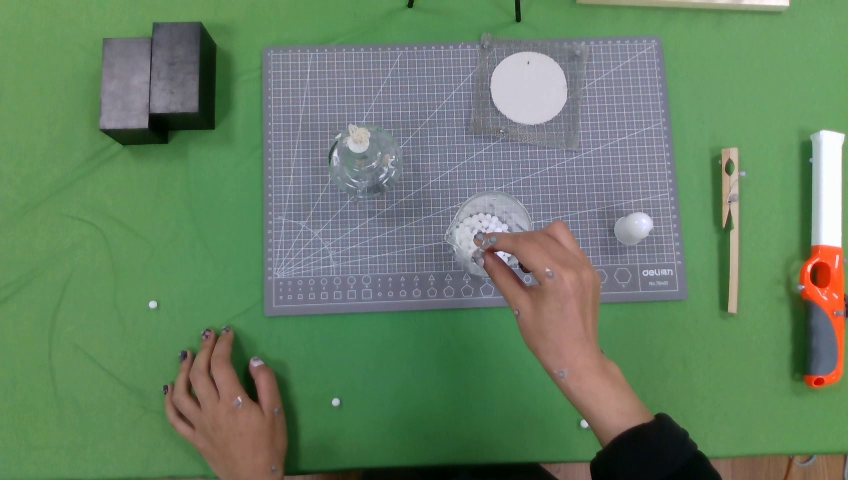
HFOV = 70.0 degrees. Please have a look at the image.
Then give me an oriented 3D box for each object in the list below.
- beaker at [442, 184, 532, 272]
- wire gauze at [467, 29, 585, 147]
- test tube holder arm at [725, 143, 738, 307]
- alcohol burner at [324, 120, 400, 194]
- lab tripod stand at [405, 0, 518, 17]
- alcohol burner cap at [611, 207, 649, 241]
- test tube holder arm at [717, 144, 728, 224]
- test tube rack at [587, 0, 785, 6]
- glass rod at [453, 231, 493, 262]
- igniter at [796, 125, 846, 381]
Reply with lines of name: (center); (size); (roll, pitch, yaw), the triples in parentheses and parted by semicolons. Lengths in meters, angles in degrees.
beaker: (0.058, -0.006, 0.605); (0.084, 0.100, 0.073); (-10, 81, -2)
wire gauze: (0.114, -0.172, 0.676); (0.125, 0.011, 0.121); (9, 83, -1)
test tube holder arm: (0.332, -0.017, 0.654); (0.013, 0.015, 0.178); (-4, 80, 33)
alcohol burner: (-0.064, -0.088, 0.606); (0.078, 0.119, 0.077); (0, 81, 1)
lab tripod stand: (0.047, -0.307, 0.632); (0.148, 0.132, 0.148); (0, 84, -1)
alcohol burner cap: (0.220, -0.019, 0.639); (0.034, 0.048, 0.033); (0, 81, -1)
test tube holder arm: (0.328, -0.061, 0.663); (0.010, 0.015, 0.087); (-4, 81, 34)
test tube rack: (0.293, -0.313, 0.663); (0.242, 0.085, 0.066); (1, 81, -1)
glass rod: (0.040, 0.008, 0.544); (0.008, 0.200, 0.008); (1, 83, -4)
igniter: (0.426, 0.012, 0.650); (0.057, 0.025, 0.275); (8, 82, -10)
